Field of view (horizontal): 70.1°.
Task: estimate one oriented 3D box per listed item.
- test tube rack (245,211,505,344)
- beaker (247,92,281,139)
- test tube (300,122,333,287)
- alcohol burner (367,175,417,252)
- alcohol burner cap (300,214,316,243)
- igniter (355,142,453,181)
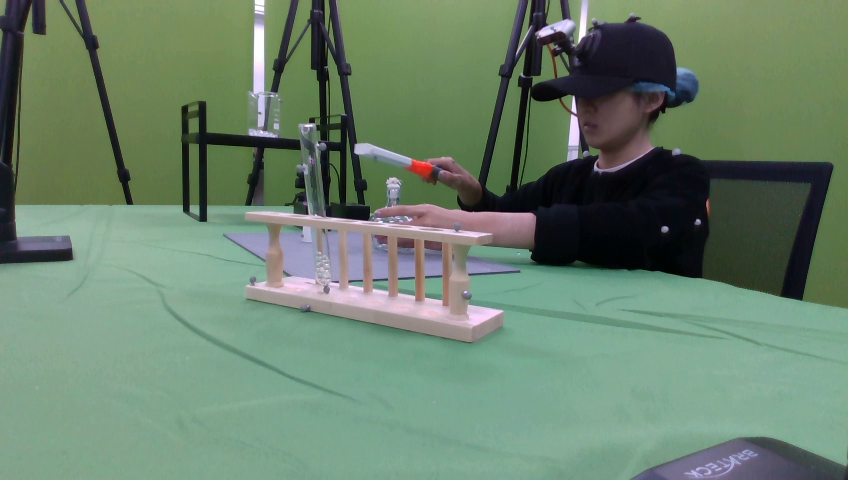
[{"bbox_3d":[-0.049,0.025,0.547,0.241,0.085,0.067,7,8,29],"label":"test tube rack"},{"bbox_3d":[-0.361,-0.280,1.359,0.074,0.100,0.084,4,8,8],"label":"beaker"},{"bbox_3d":[-0.096,-0.030,0.543,0.017,0.150,0.017,-3,14,1],"label":"test tube"},{"bbox_3d":[-0.049,-0.042,0.946,0.078,0.119,0.078,3,5,0],"label":"alcohol burner"},{"bbox_3d":[-0.186,-0.018,0.991,0.034,0.048,0.034,2,6,0],"label":"alcohol burner cap"},{"bbox_3d":[-0.029,-0.139,1.102,0.057,0.025,0.278,5,-2,32],"label":"igniter"}]
